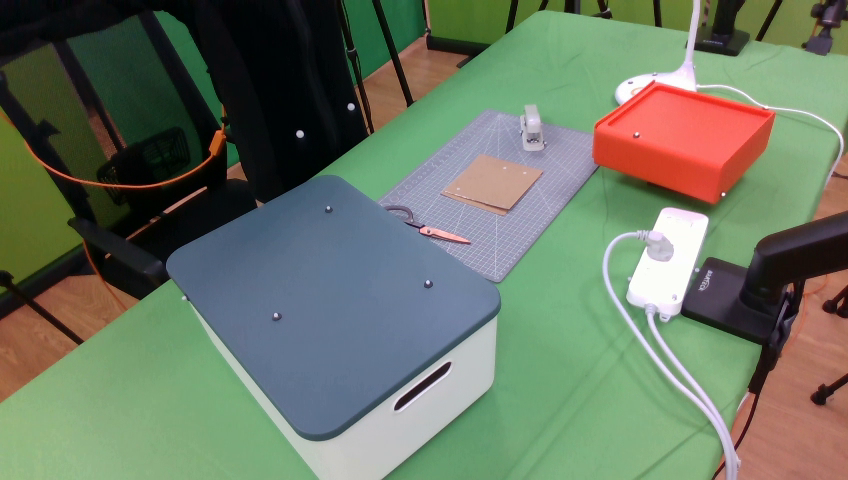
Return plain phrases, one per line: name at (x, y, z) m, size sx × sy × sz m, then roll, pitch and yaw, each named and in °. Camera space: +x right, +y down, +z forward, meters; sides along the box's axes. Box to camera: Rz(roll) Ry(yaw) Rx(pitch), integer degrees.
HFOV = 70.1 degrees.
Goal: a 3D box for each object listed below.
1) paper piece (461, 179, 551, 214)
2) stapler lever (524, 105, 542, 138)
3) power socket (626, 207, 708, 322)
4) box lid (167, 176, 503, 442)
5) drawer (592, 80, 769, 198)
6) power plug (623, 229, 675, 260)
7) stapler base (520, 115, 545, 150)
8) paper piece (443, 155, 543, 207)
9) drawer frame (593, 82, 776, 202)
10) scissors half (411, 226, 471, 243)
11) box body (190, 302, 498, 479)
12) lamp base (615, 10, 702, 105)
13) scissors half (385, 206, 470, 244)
paper piece at (0.134, -0.097, 1.091) m, size 0.136 × 0.004 × 0.134 m, roll -29°, pitch 43°, yaw -34°
stapler lever at (0.213, -0.242, 1.186) m, size 0.027 × 0.040 × 0.117 m, roll 0°, pitch 40°, yaw 4°
power socket at (0.360, 0.026, 0.886) m, size 0.072 × 0.033 × 0.227 m, roll 16°, pitch 46°, yaw 26°
box lid at (-0.119, 0.047, 0.714) m, size 0.264 × 0.015 × 0.368 m, roll -32°, pitch 47°, yaw -27°
drawer at (0.422, -0.174, 1.007) m, size 0.210 × 0.073 × 0.195 m, roll 30°, pitch 52°, yaw 35°
power plug at (0.327, 0.007, 0.878) m, size 0.072 × 0.053 × 0.035 m, roll 25°, pitch 51°, yaw 33°
stapler base at (0.215, -0.222, 1.201) m, size 0.041 × 0.024 × 0.130 m, roll 0°, pitch 39°, yaw 4°
paper piece at (0.127, -0.109, 1.091) m, size 0.137 × 0.009 × 0.136 m, roll 18°, pitch 42°, yaw 30°
drawer frame at (0.428, -0.171, 1.006) m, size 0.211 × 0.083 × 0.202 m, roll 29°, pitch 51°, yaw 36°
scissors half at (-0.007, -0.010, 0.993) m, size 0.174 × 0.013 × 0.040 m, roll 8°, pitch 46°, yaw 15°
box body at (-0.110, 0.103, 0.761) m, size 0.255 × 0.161 × 0.361 m, roll -33°, pitch 46°, yaw -27°
lamp base at (0.484, -0.364, 1.211) m, size 0.180 × 0.181 × 0.159 m, roll -15°, pitch 41°, yaw -14°
scissors half at (0.001, -0.024, 1.005) m, size 0.174 × 0.013 × 0.040 m, roll 22°, pitch 57°, yaw 26°
